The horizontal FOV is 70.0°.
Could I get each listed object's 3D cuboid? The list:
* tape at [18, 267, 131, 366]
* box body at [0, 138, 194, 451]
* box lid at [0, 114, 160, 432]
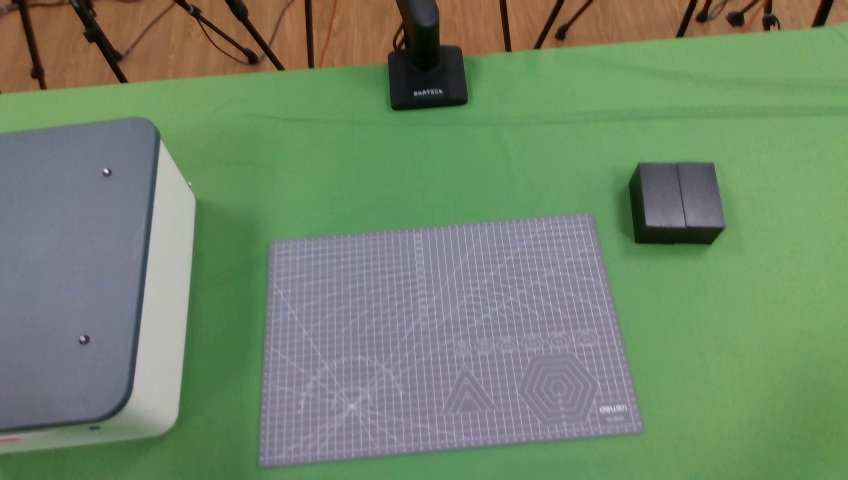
[{"bbox_3d":[-0.437,0.096,0.761,0.117,0.053,0.116,-2,61,4],"label":"tape"},{"bbox_3d":[-0.430,0.056,0.727,0.254,0.161,0.361,-6,64,-2],"label":"box body"},{"bbox_3d":[-0.433,0.020,0.662,0.263,0.015,0.368,-6,64,-1],"label":"box lid"}]
